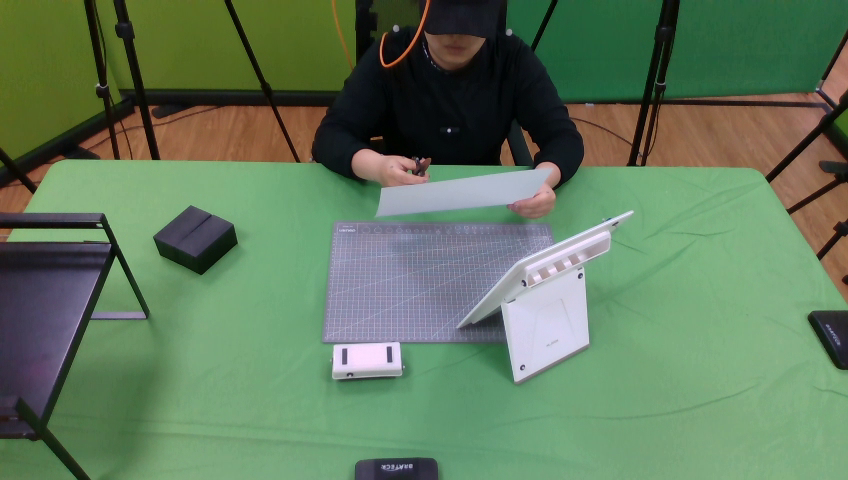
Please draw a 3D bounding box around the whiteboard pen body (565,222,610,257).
[{"bbox_3d":[0.335,-0.004,1.228,0.141,0.017,0.017,-32,56,-28],"label":"whiteboard pen body"}]

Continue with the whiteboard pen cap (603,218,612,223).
[{"bbox_3d":[0.379,-0.031,1.255,0.033,0.018,0.018,-33,56,-29],"label":"whiteboard pen cap"}]

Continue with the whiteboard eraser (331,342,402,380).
[{"bbox_3d":[-0.094,0.198,0.986,0.113,0.042,0.055,-2,44,-6],"label":"whiteboard eraser"}]

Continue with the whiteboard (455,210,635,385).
[{"bbox_3d":[0.211,0.111,0.955,0.217,0.306,0.143,-21,71,-23],"label":"whiteboard"}]

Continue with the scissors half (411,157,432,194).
[{"bbox_3d":[-0.002,-0.121,1.114,0.013,0.175,0.040,-14,80,-13],"label":"scissors half"}]

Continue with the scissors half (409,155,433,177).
[{"bbox_3d":[-0.005,-0.141,1.115,0.013,0.040,0.175,-8,4,-13],"label":"scissors half"}]
